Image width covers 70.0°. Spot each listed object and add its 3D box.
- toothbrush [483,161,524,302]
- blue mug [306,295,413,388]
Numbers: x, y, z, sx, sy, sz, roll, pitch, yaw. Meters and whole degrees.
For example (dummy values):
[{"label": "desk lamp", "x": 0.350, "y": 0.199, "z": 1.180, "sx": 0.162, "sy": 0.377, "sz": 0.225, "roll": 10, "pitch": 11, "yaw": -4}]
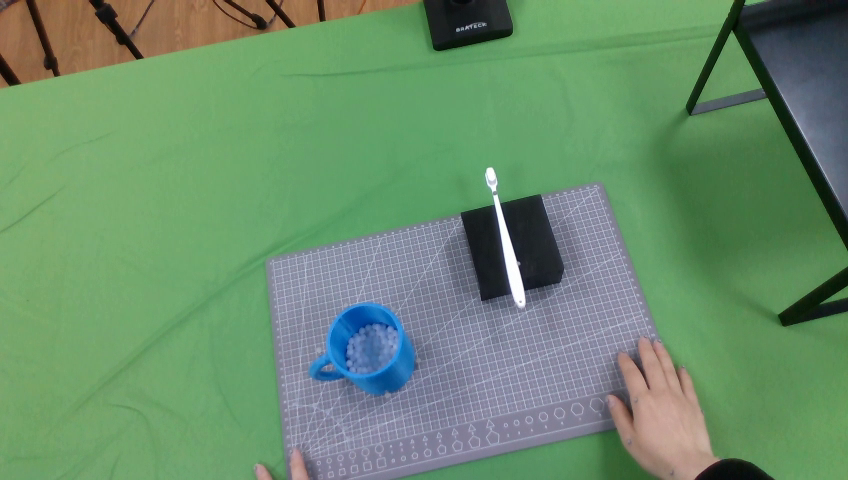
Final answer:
[{"label": "toothbrush", "x": 0.093, "y": -0.013, "z": 0.710, "sx": 0.014, "sy": 0.017, "sz": 0.180, "roll": -8, "pitch": 68, "yaw": -6}, {"label": "blue mug", "x": -0.074, "y": 0.122, "z": 0.678, "sx": 0.116, "sy": 0.106, "sz": 0.081, "roll": -21, "pitch": 67, "yaw": -2}]
